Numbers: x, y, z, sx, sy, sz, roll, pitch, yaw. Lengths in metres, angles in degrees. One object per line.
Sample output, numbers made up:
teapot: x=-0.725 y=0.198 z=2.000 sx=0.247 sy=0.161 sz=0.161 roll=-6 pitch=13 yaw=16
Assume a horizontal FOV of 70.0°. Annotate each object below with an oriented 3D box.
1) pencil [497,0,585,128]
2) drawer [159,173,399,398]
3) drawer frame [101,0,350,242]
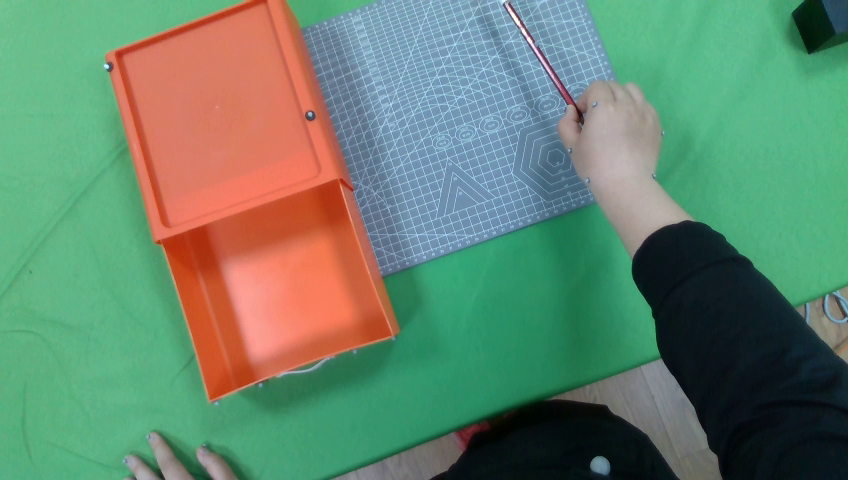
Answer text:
pencil: x=0.115 y=-0.196 z=0.626 sx=0.012 sy=0.012 sz=0.193 roll=-30 pitch=81 yaw=1
drawer: x=-0.153 y=0.031 z=0.629 sx=0.194 sy=0.073 sz=0.211 roll=-20 pitch=85 yaw=4
drawer frame: x=-0.208 y=-0.124 z=0.644 sx=0.201 sy=0.083 sz=0.213 roll=-20 pitch=82 yaw=3
